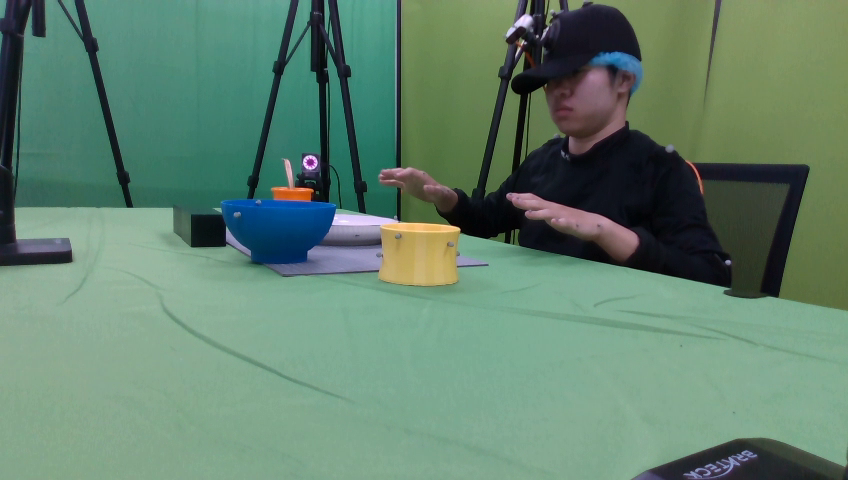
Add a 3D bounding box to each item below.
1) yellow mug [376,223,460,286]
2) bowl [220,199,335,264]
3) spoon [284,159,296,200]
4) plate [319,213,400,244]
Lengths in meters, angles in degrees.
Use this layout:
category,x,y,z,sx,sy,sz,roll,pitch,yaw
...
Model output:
category,x,y,z,sx,sy,sz,roll,pitch,yaw
yellow mug,-0.002,0.014,0.754,0.099,0.064,0.131,5,7,20
bowl,-0.197,-0.012,0.819,0.151,0.077,0.151,3,8,0
spoon,-0.302,-0.118,1.370,0.042,0.193,0.021,4,-39,-24
plate,-0.147,-0.020,1.060,0.209,0.038,0.209,2,7,0
